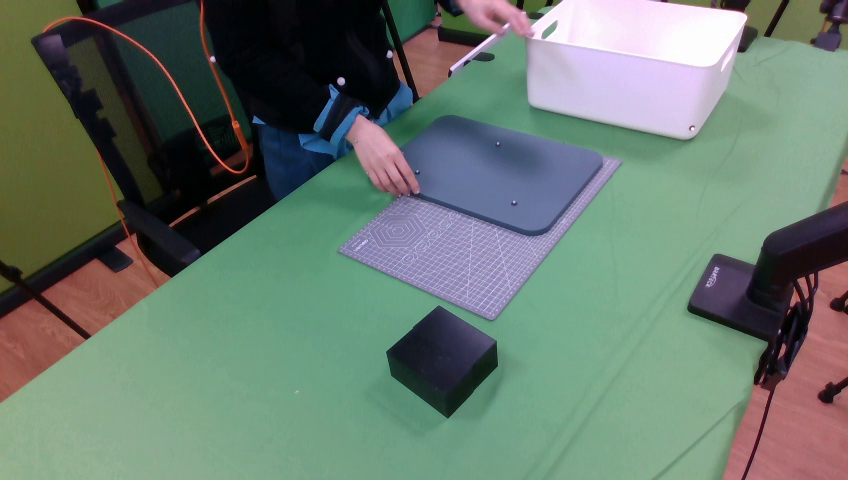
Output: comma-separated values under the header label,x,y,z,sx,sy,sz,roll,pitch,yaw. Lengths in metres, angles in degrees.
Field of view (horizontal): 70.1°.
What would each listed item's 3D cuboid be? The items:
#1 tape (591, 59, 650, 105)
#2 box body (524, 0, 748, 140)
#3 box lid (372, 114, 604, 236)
label,x,y,z,sx,sy,sz,roll,pitch,yaw
tape,0.407,-0.330,1.259,0.117,0.053,0.116,-2,40,2
box body,0.412,-0.354,1.212,0.361,0.161,0.254,20,48,29
box lid,0.115,-0.133,1.112,0.368,0.015,0.264,21,48,30
